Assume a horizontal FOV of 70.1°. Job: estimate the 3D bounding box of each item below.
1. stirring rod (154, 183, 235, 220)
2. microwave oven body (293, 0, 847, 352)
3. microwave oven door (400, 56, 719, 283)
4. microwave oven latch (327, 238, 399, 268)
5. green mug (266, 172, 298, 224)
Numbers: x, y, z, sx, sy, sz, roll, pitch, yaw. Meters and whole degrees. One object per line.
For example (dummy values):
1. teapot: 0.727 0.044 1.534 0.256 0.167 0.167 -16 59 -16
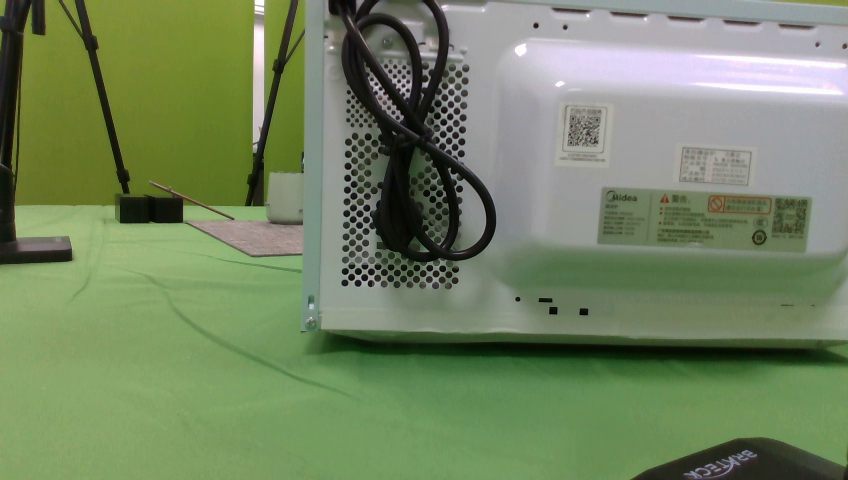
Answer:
1. stirring rod: -0.472 -0.079 1.252 0.177 0.006 0.014 27 4 -35
2. microwave oven body: 0.122 -0.055 0.550 0.442 0.260 0.325 3 7 -5
3. microwave oven door: 0.155 -0.077 0.697 0.356 0.243 0.039 2 8 -5
4. microwave oven latch: -0.069 0.015 0.694 0.079 0.029 0.030 3 7 -3
5. green mug: -0.272 -0.089 1.271 0.092 0.105 0.126 7 8 33
